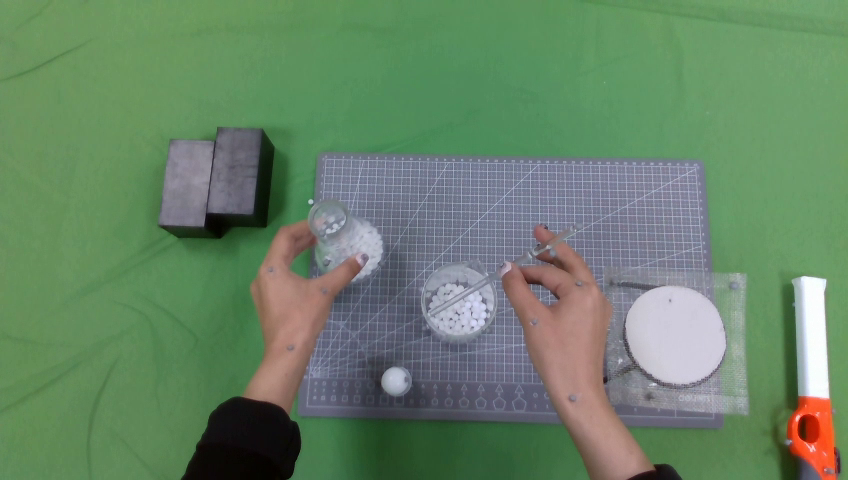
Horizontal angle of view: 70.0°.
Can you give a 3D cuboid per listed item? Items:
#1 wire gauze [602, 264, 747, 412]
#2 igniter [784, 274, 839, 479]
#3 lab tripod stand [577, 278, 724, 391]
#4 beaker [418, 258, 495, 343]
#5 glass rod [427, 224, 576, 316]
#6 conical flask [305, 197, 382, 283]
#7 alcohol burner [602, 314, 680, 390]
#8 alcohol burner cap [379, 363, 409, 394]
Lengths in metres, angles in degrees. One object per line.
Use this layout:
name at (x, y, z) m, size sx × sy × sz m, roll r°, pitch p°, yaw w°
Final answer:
wire gauze at (0.218, 0.083, 0.528) m, size 0.125 × 0.011 × 0.121 m, roll 4°, pitch 78°, yaw 2°
igniter at (0.402, 0.172, 0.632) m, size 0.057 × 0.025 × 0.275 m, roll 8°, pitch 77°, yaw -8°
lab tripod stand at (0.219, 0.101, 0.594) m, size 0.148 × 0.132 × 0.147 m, roll 0°, pitch 78°, yaw 1°
beaker at (0.033, 0.065, 0.622) m, size 0.074 × 0.101 × 0.083 m, roll 24°, pitch 77°, yaw 6°
glass rod at (0.060, 0.032, 0.532) m, size 0.008 × 0.200 × 0.008 m, roll 19°, pitch 55°, yaw -28°
conical flask at (-0.085, -0.005, 0.594) m, size 0.075 × 0.122 × 0.075 m, roll -1°, pitch 75°, yaw 2°
alcohol burner at (0.220, 0.110, 0.602) m, size 0.078 × 0.119 × 0.077 m, roll -1°, pitch 77°, yaw 3°
alcohol burner cap at (-0.032, 0.145, 0.633) m, size 0.034 × 0.048 × 0.033 m, roll 0°, pitch 78°, yaw -1°
